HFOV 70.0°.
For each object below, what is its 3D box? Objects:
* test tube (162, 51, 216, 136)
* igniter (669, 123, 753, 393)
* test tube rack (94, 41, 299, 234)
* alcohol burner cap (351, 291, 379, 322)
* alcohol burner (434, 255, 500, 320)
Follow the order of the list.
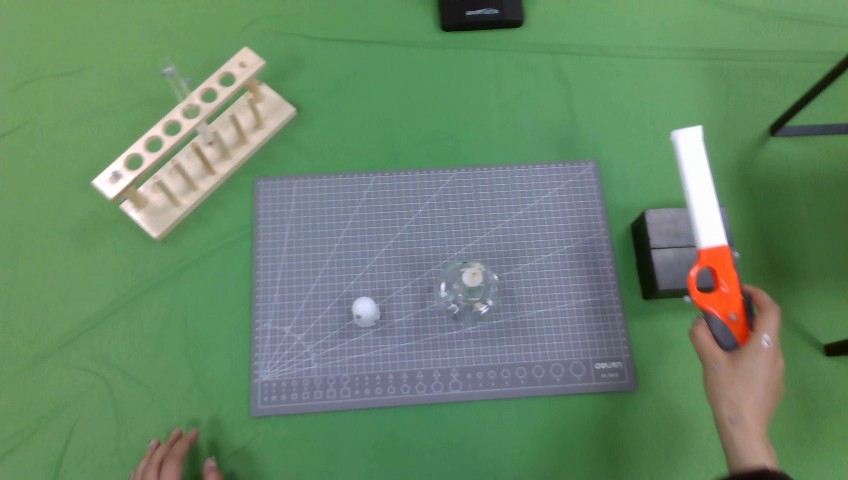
[{"bbox_3d":[-0.271,-0.166,0.708,0.017,0.151,0.017,1,67,-1],"label":"test tube"},{"bbox_3d":[0.294,0.016,0.623,0.057,0.025,0.275,-10,83,10],"label":"igniter"},{"bbox_3d":[-0.270,-0.125,0.747,0.066,0.085,0.242,40,75,11],"label":"test tube rack"},{"bbox_3d":[-0.070,0.077,0.712,0.034,0.048,0.033,0,72,0],"label":"alcohol burner cap"},{"bbox_3d":[0.051,0.049,0.688,0.078,0.120,0.077,1,71,-3],"label":"alcohol burner"}]
